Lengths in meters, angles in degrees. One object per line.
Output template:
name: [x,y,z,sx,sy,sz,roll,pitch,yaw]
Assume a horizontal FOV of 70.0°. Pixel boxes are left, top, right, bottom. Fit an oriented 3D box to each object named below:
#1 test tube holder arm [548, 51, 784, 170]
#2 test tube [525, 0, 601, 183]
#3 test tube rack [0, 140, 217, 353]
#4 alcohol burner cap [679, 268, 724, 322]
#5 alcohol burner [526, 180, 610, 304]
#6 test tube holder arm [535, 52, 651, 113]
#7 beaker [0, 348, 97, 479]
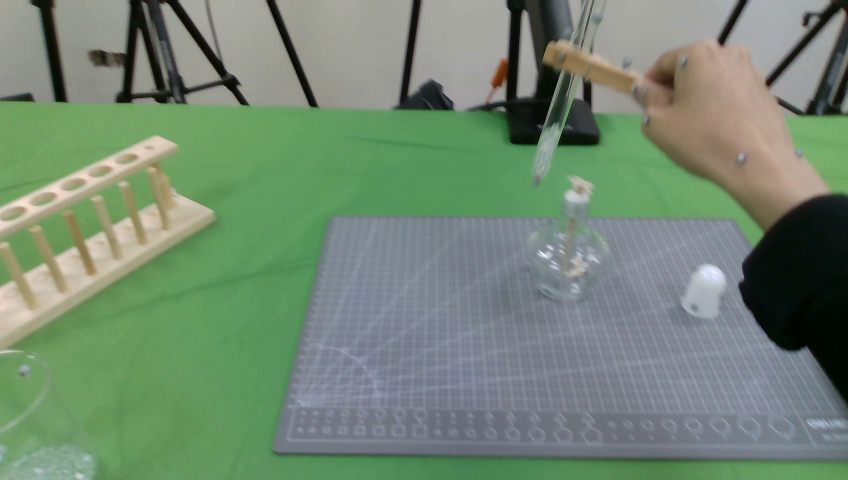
test tube holder arm: [0.158,-0.094,0.418,0.177,0.015,0.013,34,41,28]
test tube: [0.102,-0.110,0.458,0.017,0.151,0.017,9,34,-5]
test tube rack: [-0.325,-0.003,0.582,0.066,0.086,0.242,24,43,27]
alcohol burner cap: [0.255,0.048,0.551,0.034,0.048,0.033,0,37,0]
alcohol burner: [0.134,-0.001,0.554,0.078,0.120,0.077,0,36,0]
test tube holder arm: [0.120,-0.114,0.434,0.087,0.015,0.010,29,38,22]
beaker: [-0.267,0.133,0.392,0.084,0.101,0.073,-15,40,-17]
